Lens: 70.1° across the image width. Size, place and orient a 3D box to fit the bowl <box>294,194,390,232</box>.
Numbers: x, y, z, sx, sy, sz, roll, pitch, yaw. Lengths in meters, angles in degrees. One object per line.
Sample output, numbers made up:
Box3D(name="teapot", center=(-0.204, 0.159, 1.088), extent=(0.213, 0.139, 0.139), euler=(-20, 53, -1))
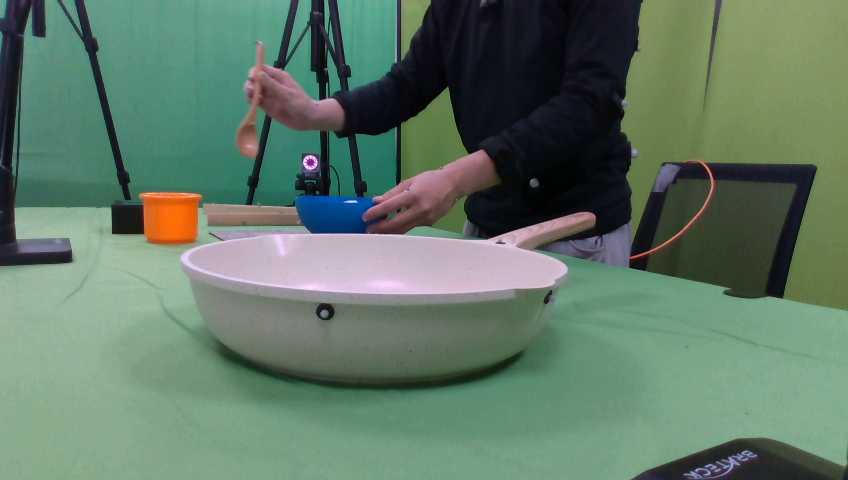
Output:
Box3D(name="bowl", center=(-0.130, -0.029, 0.958), extent=(0.151, 0.077, 0.151), euler=(3, 7, 0))

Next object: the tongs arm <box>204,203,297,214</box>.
Box3D(name="tongs arm", center=(-0.294, -0.062, 1.370), extent=(0.386, 0.026, 0.050), euler=(1, 9, -19))

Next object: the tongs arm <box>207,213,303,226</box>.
Box3D(name="tongs arm", center=(-0.263, -0.046, 1.297), extent=(0.390, 0.028, 0.028), euler=(-2, 7, -32))

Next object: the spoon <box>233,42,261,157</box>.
Box3D(name="spoon", center=(-0.281, -0.230, 0.985), extent=(0.021, 0.193, 0.042), euler=(4, -7, 39))

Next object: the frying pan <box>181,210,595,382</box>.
Box3D(name="frying pan", center=(0.034, 0.019, 0.557), extent=(0.305, 0.102, 0.490), euler=(10, 19, 42))
